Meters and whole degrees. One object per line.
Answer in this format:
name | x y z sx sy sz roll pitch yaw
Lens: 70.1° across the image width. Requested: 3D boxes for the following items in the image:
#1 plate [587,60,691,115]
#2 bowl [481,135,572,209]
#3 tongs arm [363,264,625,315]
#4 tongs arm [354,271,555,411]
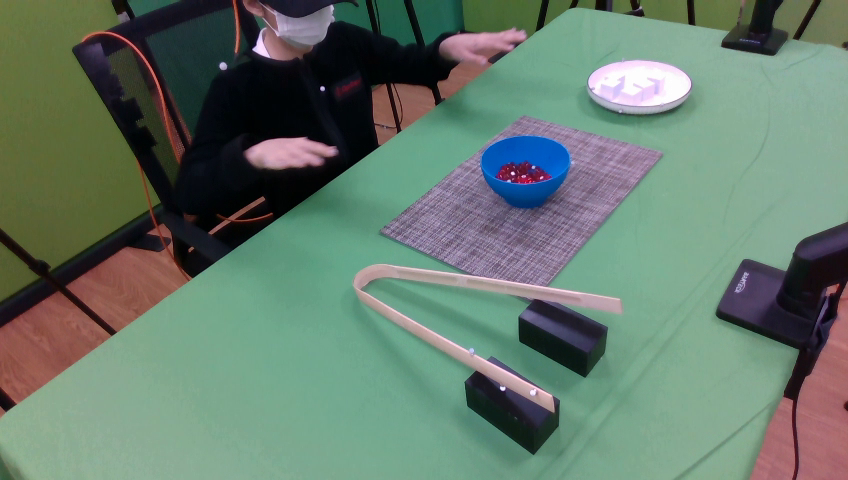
plate | 0.445 -0.313 1.263 0.209 0.038 0.208 -5 40 4
bowl | 0.172 -0.106 1.025 0.151 0.077 0.150 -4 40 4
tongs arm | 0.079 0.066 0.828 0.385 0.028 0.028 6 44 32
tongs arm | 0.023 0.115 0.778 0.051 0.027 0.381 -39 38 -28
